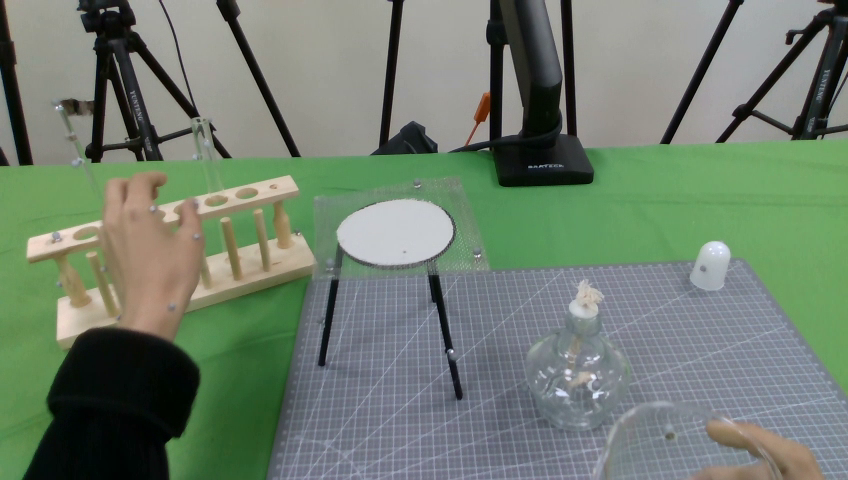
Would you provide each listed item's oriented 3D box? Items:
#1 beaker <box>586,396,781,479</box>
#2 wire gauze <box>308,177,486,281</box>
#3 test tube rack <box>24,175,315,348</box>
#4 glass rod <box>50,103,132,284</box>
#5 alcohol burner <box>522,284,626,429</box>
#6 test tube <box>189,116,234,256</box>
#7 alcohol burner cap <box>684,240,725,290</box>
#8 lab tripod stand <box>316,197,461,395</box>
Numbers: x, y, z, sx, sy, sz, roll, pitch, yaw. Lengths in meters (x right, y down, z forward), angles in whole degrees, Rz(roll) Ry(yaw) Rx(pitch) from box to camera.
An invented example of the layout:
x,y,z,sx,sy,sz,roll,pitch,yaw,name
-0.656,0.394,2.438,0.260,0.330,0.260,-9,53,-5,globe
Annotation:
x,y,z,sx,sy,sz,roll,pitch,yaw,name
0.113,0.138,0.293,0.084,0.101,0.073,-4,34,-6,beaker
-0.026,-0.010,0.454,0.125,0.011,0.120,-6,36,-5,wire gauze
-0.237,0.015,0.590,0.243,0.086,0.066,-17,38,-20,test tube rack
-0.289,-0.030,0.540,0.008,0.201,0.008,-1,40,1,glass rod
0.113,0.083,0.450,0.078,0.120,0.077,-2,34,2,alcohol burner
-0.206,-0.047,0.591,0.017,0.151,0.017,-1,33,1,test tube
0.275,0.022,0.590,0.034,0.048,0.033,-1,36,1,alcohol burner cap
-0.023,0.044,0.494,0.148,0.132,0.147,-2,38,2,lab tripod stand
